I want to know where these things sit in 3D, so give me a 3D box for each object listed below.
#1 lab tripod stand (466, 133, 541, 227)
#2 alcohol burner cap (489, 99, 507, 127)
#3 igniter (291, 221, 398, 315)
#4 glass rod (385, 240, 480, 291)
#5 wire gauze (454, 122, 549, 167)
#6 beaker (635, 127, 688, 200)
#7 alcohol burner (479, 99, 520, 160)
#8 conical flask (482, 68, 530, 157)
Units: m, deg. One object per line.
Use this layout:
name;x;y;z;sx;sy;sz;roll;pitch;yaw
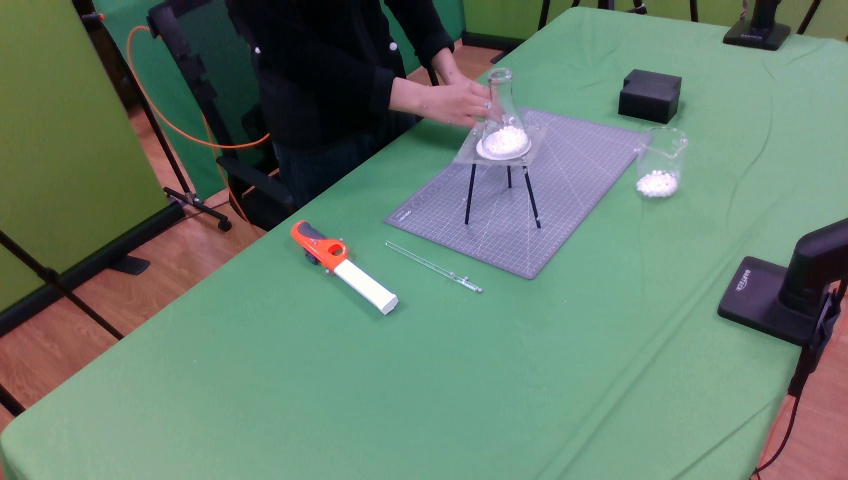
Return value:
lab tripod stand;0.130;-0.099;0.985;0.148;0.132;0.147;-6;38;6
alcohol burner cap;0.133;-0.233;1.102;0.034;0.048;0.033;-7;42;7
igniter;-0.136;0.037;0.962;0.057;0.025;0.274;-41;48;-18
glass rod;0.009;0.037;0.950;0.198;0.008;0.008;26;52;35
wire gauze;0.122;-0.149;0.943;0.121;0.011;0.125;7;44;22
beaker;0.388;-0.122;0.994;0.074;0.101;0.083;-8;40;2
alcohol burner;0.139;-0.207;1.126;0.078;0.120;0.077;-7;40;6
conical flask;0.118;-0.192;0.902;0.075;0.122;0.075;-7;39;6
